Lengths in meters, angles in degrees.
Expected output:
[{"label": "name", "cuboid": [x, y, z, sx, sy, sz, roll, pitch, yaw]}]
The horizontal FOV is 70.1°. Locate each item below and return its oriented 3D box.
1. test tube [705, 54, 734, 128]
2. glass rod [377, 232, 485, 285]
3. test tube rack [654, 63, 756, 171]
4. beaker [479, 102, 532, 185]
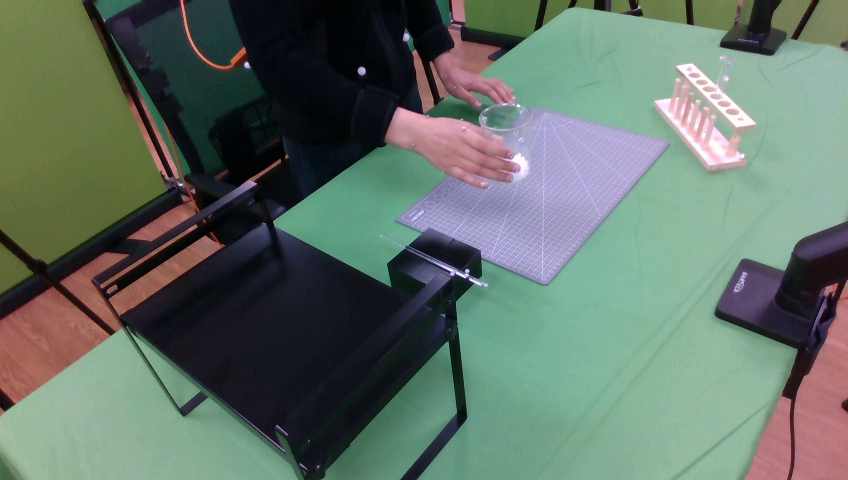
[{"label": "test tube", "cuboid": [0.523, -0.260, 1.073, 0.017, 0.151, 0.017, -4, 46, 4]}, {"label": "glass rod", "cuboid": [0.005, 0.024, 0.877, 0.198, 0.008, 0.008, 25, 50, 31]}, {"label": "test tube rack", "cuboid": [0.510, -0.233, 1.120, 0.067, 0.085, 0.241, -8, 41, -1]}, {"label": "beaker", "cuboid": [0.122, -0.138, 0.874, 0.073, 0.101, 0.084, 29, 53, 34]}]
